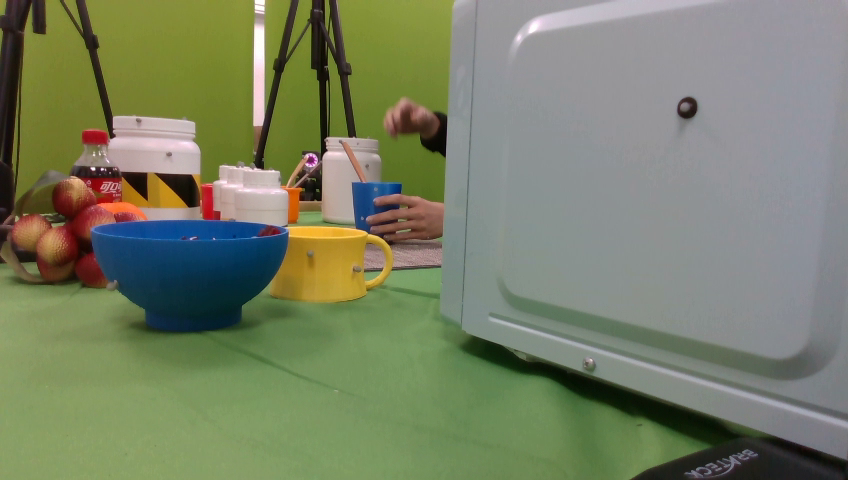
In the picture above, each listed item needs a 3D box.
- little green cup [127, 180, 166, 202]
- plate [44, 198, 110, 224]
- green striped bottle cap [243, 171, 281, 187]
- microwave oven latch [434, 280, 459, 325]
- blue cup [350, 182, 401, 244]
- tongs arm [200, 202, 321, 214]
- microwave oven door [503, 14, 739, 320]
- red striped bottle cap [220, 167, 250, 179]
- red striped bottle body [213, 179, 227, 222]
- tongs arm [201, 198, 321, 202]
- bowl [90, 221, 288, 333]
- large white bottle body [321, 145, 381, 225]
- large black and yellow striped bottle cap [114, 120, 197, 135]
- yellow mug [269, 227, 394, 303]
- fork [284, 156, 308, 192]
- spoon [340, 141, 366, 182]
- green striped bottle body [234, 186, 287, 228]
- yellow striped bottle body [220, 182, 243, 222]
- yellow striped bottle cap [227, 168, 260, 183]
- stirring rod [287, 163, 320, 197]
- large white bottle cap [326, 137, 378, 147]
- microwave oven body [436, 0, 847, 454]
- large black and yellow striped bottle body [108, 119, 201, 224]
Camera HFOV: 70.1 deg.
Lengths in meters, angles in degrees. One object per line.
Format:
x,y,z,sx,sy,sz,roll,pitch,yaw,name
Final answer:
-0.486,-0.086,1.061,0.061,0.038,0.061,1,7,0,little green cup
-0.617,-0.056,1.179,0.209,0.038,0.209,3,7,0,plate
-0.198,-0.074,0.736,0.044,0.020,0.044,1,7,0,green striped bottle cap
0.044,0.045,0.470,0.079,0.029,0.030,-2,8,-39,microwave oven latch
-0.081,-0.046,1.012,0.093,0.100,0.092,1,7,0,blue cup
-0.378,-0.079,1.440,0.387,0.026,0.050,-4,8,-44,tongs arm
0.218,-0.065,0.600,0.358,0.243,0.039,-4,10,-41,microwave oven door
-0.281,-0.100,0.901,0.044,0.017,0.044,-1,5,0,red striped bottle cap
-0.284,-0.048,0.910,0.063,0.119,0.063,3,12,0,red striped bottle body
-0.433,-0.090,1.508,0.390,0.028,0.028,-1,2,-29,tongs arm
-0.190,0.029,0.500,0.151,0.077,0.151,3,7,0,bowl
-0.162,-0.131,1.340,0.131,0.184,0.130,2,8,0,large white bottle body
-0.407,-0.171,0.920,0.115,0.019,0.115,2,9,0,large black and yellow striped bottle cap
-0.094,0.023,0.629,0.131,0.064,0.099,0,7,-22,yellow mug
-0.295,-0.116,1.323,0.028,0.019,0.207,1,50,21,fork
-0.103,-0.089,1.028,0.021,0.193,0.042,-32,-19,36,spoon
-0.201,-0.023,0.743,0.063,0.119,0.063,2,7,0,green striped bottle body
-0.245,-0.036,0.825,0.063,0.120,0.063,3,8,0,yellow striped bottle body
-0.243,-0.087,0.818,0.044,0.018,0.044,3,6,0,yellow striped bottle cap
-0.283,-0.107,1.298,0.014,0.006,0.176,10,52,51,stirring rod
-0.158,-0.214,1.329,0.115,0.018,0.115,2,8,0,large white bottle cap
0.279,-0.040,0.465,0.444,0.260,0.324,-3,9,-41,microwave oven body
-0.412,-0.088,0.930,0.131,0.184,0.130,3,7,0,large black and yellow striped bottle body
